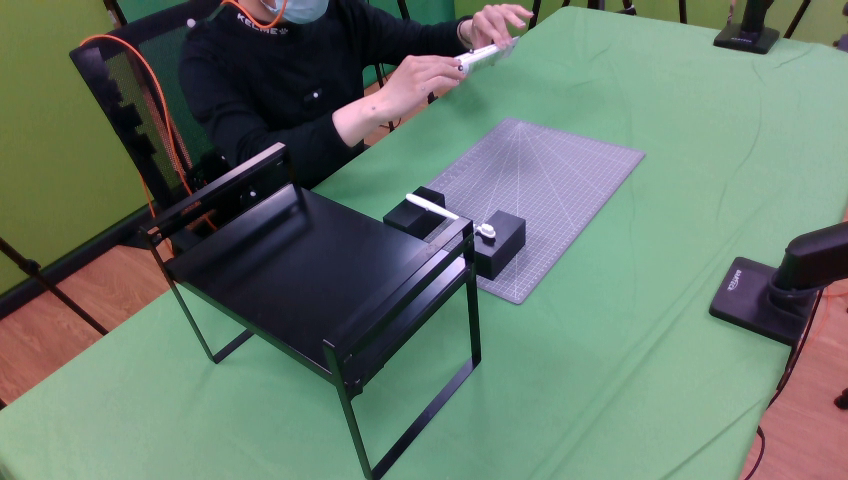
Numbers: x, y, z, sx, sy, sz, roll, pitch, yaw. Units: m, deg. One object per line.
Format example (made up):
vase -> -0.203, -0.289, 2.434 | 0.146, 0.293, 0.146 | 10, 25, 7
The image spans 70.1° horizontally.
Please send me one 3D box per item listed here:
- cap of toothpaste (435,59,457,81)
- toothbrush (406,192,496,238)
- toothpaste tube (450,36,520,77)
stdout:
cap of toothpaste -> 0.037, -0.291, 1.036 | 0.037, 0.037, 0.011 | 2, 17, 10
toothbrush -> 0.038, -0.043, 0.937 | 0.180, 0.017, 0.014 | 26, 63, 35
toothpaste tube -> 0.103, -0.328, 1.083 | 0.166, 0.055, 0.034 | -28, 80, -29
